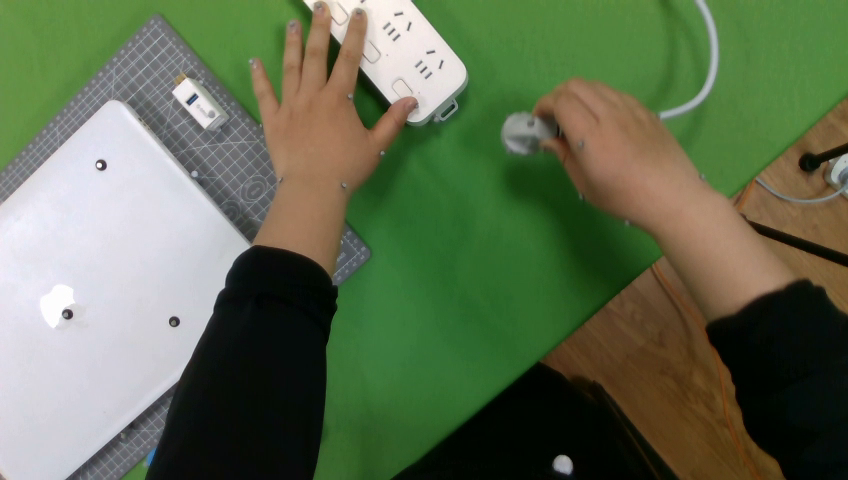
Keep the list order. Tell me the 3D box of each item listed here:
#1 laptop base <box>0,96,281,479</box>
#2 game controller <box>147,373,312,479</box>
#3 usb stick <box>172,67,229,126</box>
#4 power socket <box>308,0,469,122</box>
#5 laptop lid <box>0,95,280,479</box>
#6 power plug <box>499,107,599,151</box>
[{"bbox_3d":[-0.338,0.062,0.590,0.354,0.023,0.236,-40,95,7],"label":"laptop base"},{"bbox_3d":[-0.194,0.200,0.582,0.155,0.051,0.097,-40,88,7],"label":"game controller"},{"bbox_3d":[-0.208,-0.133,0.552,0.021,0.027,0.059,-41,90,10],"label":"usb stick"},{"bbox_3d":[-0.049,-0.203,0.532,0.072,0.032,0.227,-40,92,9],"label":"power socket"},{"bbox_3d":[-0.337,0.065,0.578,0.357,0.013,0.242,-39,95,7],"label":"laptop lid"},{"bbox_3d":[0.097,-0.086,0.494,0.073,0.052,0.035,14,86,-9],"label":"power plug"}]
